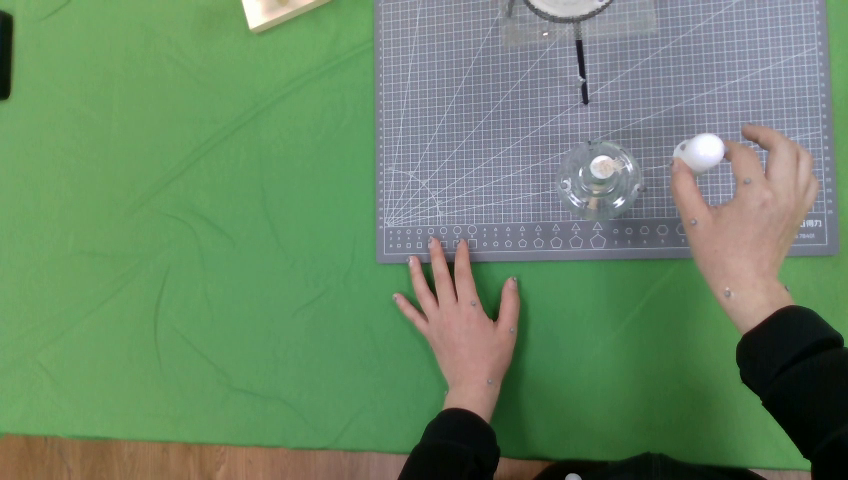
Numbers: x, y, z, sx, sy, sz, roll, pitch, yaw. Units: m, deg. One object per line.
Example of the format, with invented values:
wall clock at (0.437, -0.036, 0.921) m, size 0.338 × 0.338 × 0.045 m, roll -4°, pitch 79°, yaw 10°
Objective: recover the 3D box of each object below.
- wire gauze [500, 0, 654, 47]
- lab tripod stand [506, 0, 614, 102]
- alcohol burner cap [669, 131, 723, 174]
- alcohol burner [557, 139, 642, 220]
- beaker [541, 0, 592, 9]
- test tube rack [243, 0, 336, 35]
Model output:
wire gauze at (0.124, -0.223, 0.501) m, size 0.125 × 0.011 × 0.121 m, roll -2°, pitch 89°, yaw 11°
lab tripod stand at (0.140, -0.217, 0.565) m, size 0.148 × 0.132 × 0.148 m, roll -1°, pitch 87°, yaw 12°
alcohol burner cap at (0.222, -0.073, 0.490) m, size 0.034 × 0.048 × 0.034 m, roll 0°, pitch 88°, yaw 6°
alcohol burner at (0.162, -0.059, 0.559) m, size 0.078 × 0.119 × 0.077 m, roll -1°, pitch 85°, yaw 12°
beaker at (0.107, -0.227, 0.456) m, size 0.083 × 0.100 × 0.074 m, roll 12°, pitch 89°, yaw 15°
test tube rack at (-0.107, -0.316, 0.660) m, size 0.242 × 0.085 × 0.066 m, roll -19°, pitch 81°, yaw 12°
